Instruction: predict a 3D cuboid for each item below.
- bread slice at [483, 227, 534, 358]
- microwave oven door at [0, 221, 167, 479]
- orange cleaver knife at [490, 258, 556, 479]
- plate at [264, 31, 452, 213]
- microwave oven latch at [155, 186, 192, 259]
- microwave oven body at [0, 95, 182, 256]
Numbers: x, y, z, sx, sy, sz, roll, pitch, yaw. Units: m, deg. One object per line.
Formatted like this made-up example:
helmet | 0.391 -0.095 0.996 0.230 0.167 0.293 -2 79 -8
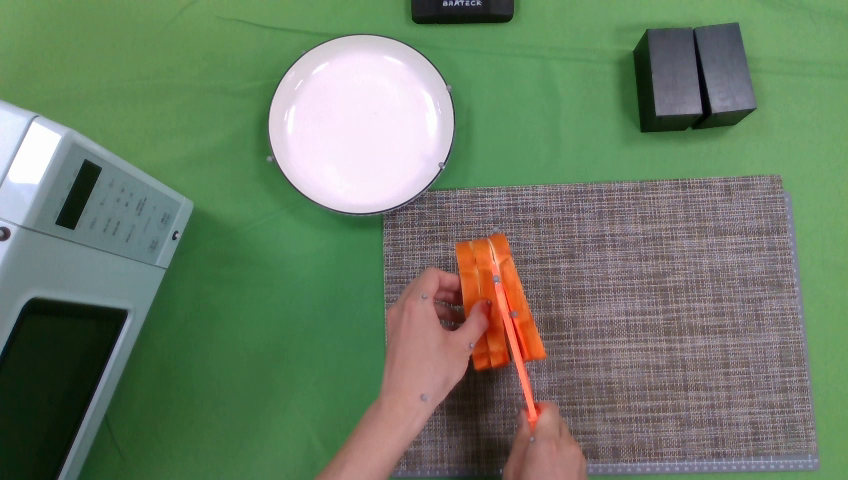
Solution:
bread slice | 0.082 0.055 0.612 0.018 0.107 0.134 -11 82 -1
microwave oven door | -0.355 0.166 0.517 0.039 0.244 0.355 19 82 5
orange cleaver knife | 0.091 0.120 0.561 0.012 0.077 0.212 -15 101 9
plate | -0.071 -0.129 0.679 0.208 0.039 0.207 0 81 0
microwave oven latch | -0.276 -0.021 0.647 0.030 0.029 0.079 21 83 3
microwave oven body | -0.478 0.078 0.537 0.326 0.261 0.440 20 83 3
